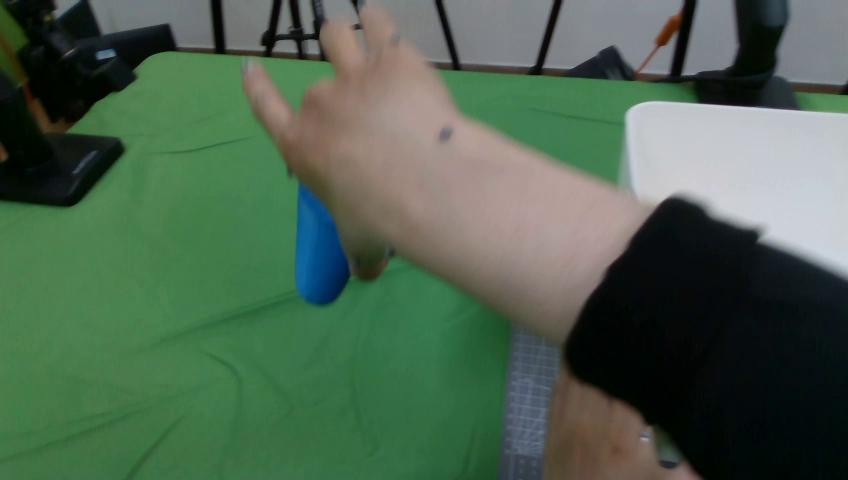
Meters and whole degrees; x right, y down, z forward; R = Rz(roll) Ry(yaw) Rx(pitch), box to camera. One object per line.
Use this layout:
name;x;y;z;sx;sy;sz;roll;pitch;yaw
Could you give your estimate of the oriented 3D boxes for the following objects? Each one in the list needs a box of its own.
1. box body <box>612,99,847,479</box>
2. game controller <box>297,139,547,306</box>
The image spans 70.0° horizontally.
box body;0.331;0.039;0.450;0.363;0.162;0.252;5;45;9
game controller;-0.002;-0.016;0.373;0.155;0.052;0.096;-4;65;-8
